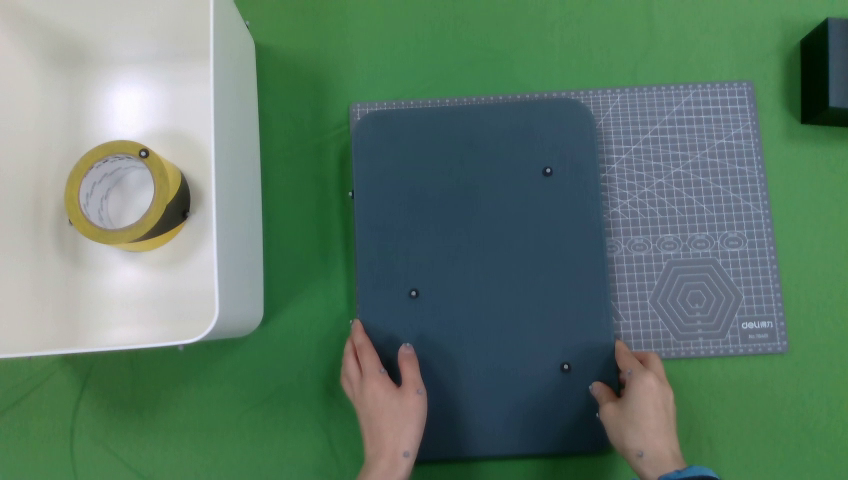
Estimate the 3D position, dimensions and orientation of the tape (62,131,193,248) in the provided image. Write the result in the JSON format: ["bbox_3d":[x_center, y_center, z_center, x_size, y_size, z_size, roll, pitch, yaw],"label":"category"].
[{"bbox_3d":[-0.310,-0.052,0.640,0.117,0.053,0.116,-1,80,4],"label":"tape"}]

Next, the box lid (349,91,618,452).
[{"bbox_3d":[0.059,0.027,0.634,0.263,0.015,0.370,-4,85,1],"label":"box lid"}]

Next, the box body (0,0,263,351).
[{"bbox_3d":[-0.303,-0.079,0.595,0.254,0.161,0.362,-5,82,0],"label":"box body"}]
